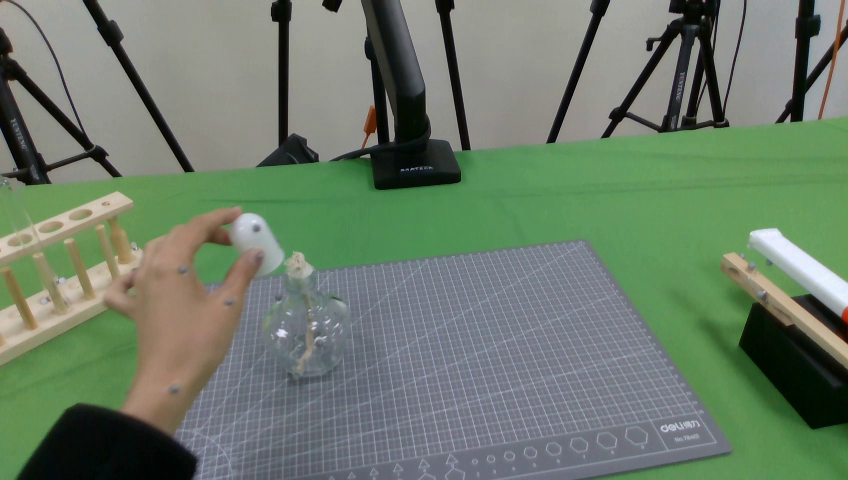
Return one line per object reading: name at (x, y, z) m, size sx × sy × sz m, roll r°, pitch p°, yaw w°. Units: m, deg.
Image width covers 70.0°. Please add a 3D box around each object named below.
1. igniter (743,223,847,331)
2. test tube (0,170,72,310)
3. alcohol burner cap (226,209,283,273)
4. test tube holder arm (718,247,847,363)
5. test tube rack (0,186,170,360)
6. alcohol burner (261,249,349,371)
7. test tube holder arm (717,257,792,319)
igniter at (0.361, 0.060, 0.497) m, size 0.057 × 0.025 × 0.273 m, roll -8°, pitch 32°, yaw -8°
test tube at (-0.358, 0.004, 0.555) m, size 0.017 × 0.151 × 0.017 m, roll -1°, pitch 36°, yaw 1°
alcohol burner cap at (-0.129, -0.003, 0.455) m, size 0.034 × 0.048 × 0.033 m, roll -7°, pitch 43°, yaw 7°
test tube holder arm at (0.308, 0.058, 0.500) m, size 0.015 × 0.013 × 0.176 m, roll -16°, pitch 35°, yaw -9°
test tube rack at (-0.381, 0.041, 0.581) m, size 0.066 × 0.086 × 0.242 m, roll 25°, pitch 43°, yaw 33°
alcohol burner at (-0.104, 0.056, 0.522) m, size 0.078 × 0.120 × 0.077 m, roll 0°, pitch 36°, yaw 0°
test tube holder arm at (0.296, 0.040, 0.539) m, size 0.015 × 0.010 × 0.087 m, roll -16°, pitch 34°, yaw -9°
